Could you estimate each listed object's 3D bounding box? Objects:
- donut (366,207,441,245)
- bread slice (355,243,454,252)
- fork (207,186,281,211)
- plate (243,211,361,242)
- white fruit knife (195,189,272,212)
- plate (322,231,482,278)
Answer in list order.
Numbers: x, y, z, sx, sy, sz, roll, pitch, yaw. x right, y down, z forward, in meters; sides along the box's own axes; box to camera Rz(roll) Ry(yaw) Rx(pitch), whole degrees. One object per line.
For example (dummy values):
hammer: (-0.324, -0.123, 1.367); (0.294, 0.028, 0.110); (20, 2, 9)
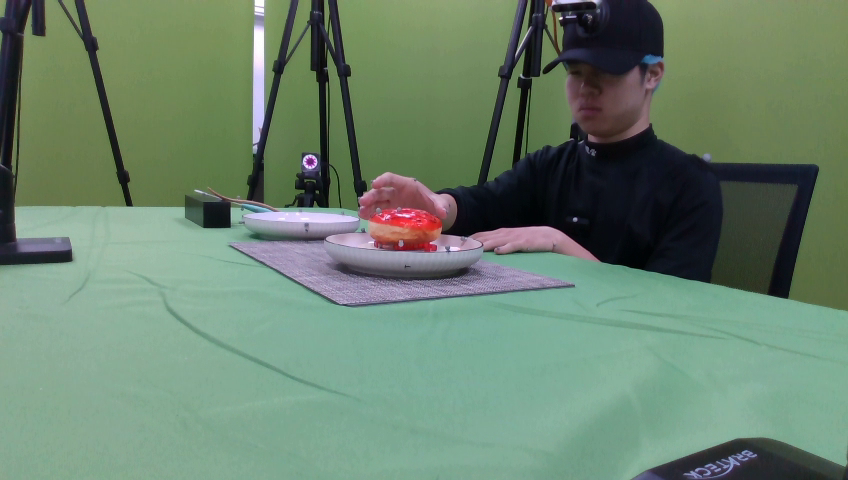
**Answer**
donut: (-0.027, -0.017, 0.785); (0.099, 0.048, 0.099); (2, 6, 0)
bread slice: (-0.027, 0.020, 0.794); (0.131, 0.019, 0.105); (6, 7, 17)
fork: (-0.342, -0.070, 1.244); (0.208, 0.018, 0.028); (18, -4, -24)
plate: (-0.219, -0.025, 1.092); (0.208, 0.039, 0.207); (3, 7, 0)
white fruit knife: (-0.378, -0.073, 1.270); (0.208, 0.016, 0.027); (18, -4, -32)
plate: (-0.028, 0.018, 0.789); (0.209, 0.038, 0.209); (3, 7, 0)
